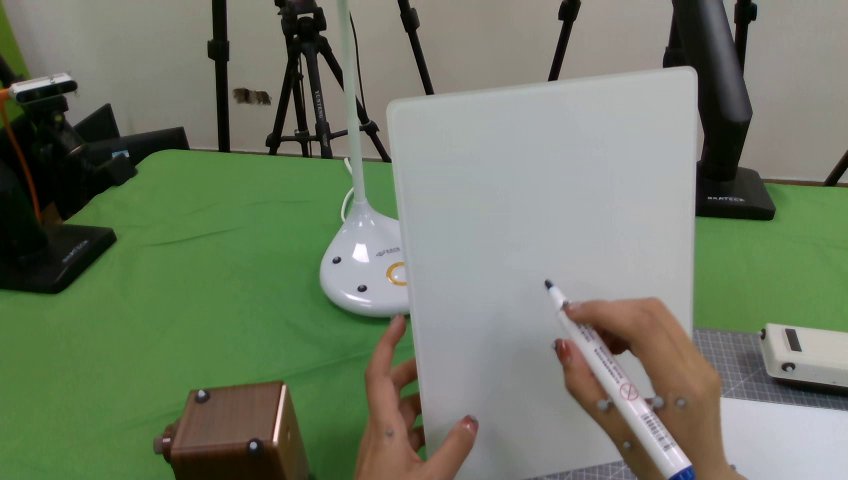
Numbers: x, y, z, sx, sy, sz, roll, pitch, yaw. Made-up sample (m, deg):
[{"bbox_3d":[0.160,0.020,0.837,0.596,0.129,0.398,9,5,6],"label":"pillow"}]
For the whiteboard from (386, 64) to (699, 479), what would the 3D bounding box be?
[{"bbox_3d":[0.089,0.023,0.506,0.217,0.307,0.143,-8,16,-6],"label":"whiteboard"}]

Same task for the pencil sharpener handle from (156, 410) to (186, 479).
[{"bbox_3d":[-0.184,0.155,0.435,0.030,0.068,0.035,-5,23,-2],"label":"pencil sharpener handle"}]

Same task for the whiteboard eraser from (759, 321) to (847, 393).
[{"bbox_3d":[0.365,0.107,0.541,0.112,0.042,0.055,7,37,14],"label":"whiteboard eraser"}]

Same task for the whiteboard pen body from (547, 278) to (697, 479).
[{"bbox_3d":[0.108,0.075,0.351,0.017,0.017,0.139,-16,54,-18],"label":"whiteboard pen body"}]

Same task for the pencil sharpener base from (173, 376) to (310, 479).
[{"bbox_3d":[-0.132,0.160,0.447,0.077,0.108,0.061,-5,36,-2],"label":"pencil sharpener base"}]

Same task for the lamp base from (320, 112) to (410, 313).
[{"bbox_3d":[-0.051,-0.039,0.662,0.161,0.182,0.177,-25,38,-28],"label":"lamp base"}]
